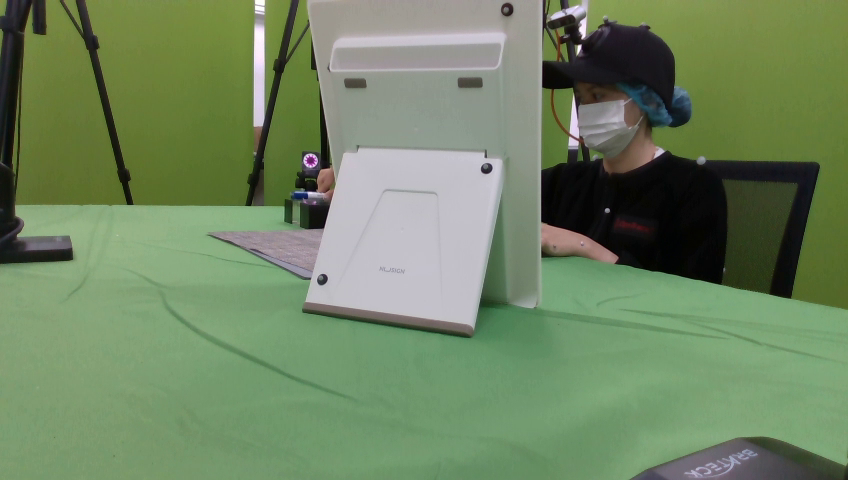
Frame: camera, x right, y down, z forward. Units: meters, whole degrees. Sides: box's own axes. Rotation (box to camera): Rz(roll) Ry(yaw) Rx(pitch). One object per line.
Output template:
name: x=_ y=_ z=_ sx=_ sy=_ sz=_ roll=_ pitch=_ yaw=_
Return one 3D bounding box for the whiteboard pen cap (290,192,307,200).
whiteboard pen cap: x=-0.249 y=-0.089 z=1.207 sx=0.033 sy=0.018 sz=0.018 roll=-5 pitch=11 yaw=-41

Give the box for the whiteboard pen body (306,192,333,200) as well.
whiteboard pen body: x=-0.203 y=-0.090 z=1.247 sx=0.141 sy=0.017 sz=0.017 roll=-4 pitch=10 yaw=-43

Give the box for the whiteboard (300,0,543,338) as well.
whiteboard: x=-0.020 y=-0.050 z=0.523 sx=0.216 sy=0.305 sz=0.144 roll=6 pitch=27 yaw=22
